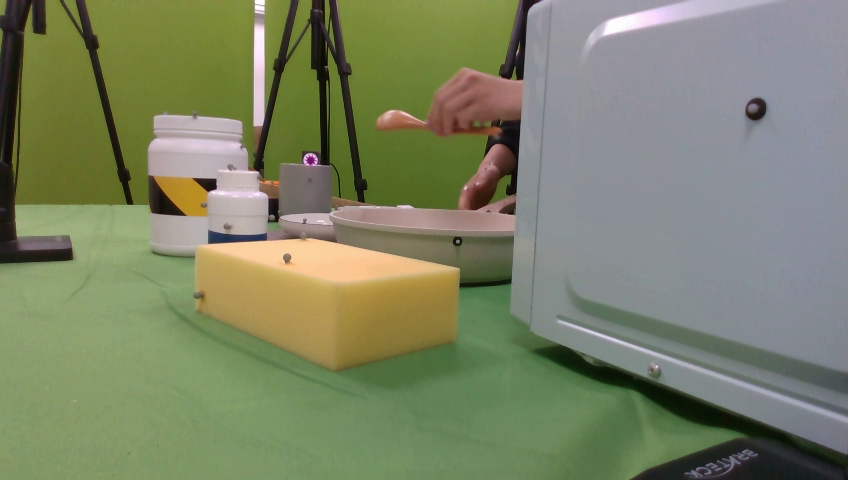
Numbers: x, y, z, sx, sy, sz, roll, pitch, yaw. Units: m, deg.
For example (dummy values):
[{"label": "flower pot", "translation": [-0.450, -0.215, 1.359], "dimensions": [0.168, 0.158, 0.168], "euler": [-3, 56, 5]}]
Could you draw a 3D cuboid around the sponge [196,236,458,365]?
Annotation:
[{"label": "sponge", "translation": [-0.087, 0.039, 0.500], "dimensions": [0.206, 0.061, 0.119], "euler": [8, 9, 44]}]

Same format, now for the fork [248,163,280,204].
[{"label": "fork", "translation": [-0.396, -0.143, 1.486], "dimensions": [0.028, 0.018, 0.208], "euler": [20, -26, 45]}]

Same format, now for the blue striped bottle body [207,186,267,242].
[{"label": "blue striped bottle body", "translation": [-0.204, -0.016, 0.663], "dimensions": [0.063, 0.120, 0.063], "euler": [2, 7, 0]}]

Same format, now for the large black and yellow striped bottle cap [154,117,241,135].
[{"label": "large black and yellow striped bottle cap", "translation": [-0.314, -0.158, 0.843], "dimensions": [0.115, 0.019, 0.115], "euler": [3, 7, 0]}]

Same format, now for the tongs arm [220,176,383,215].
[{"label": "tongs arm", "translation": [-0.285, -0.104, 1.445], "dimensions": [0.389, 0.027, 0.028], "euler": [9, -4, -23]}]

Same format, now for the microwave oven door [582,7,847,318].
[{"label": "microwave oven door", "translation": [0.295, -0.067, 0.569], "dimensions": [0.358, 0.243, 0.039], "euler": [-3, 8, -31]}]

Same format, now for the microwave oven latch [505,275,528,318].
[{"label": "microwave oven latch", "translation": [0.100, 0.041, 0.472], "dimensions": [0.079, 0.029, 0.030], "euler": [-2, 8, -30]}]

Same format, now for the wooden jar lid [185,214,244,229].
[{"label": "wooden jar lid", "translation": [-0.404, -0.037, 1.169], "dimensions": [0.108, 0.020, 0.108], "euler": [3, 7, 0]}]

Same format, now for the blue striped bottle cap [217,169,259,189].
[{"label": "blue striped bottle cap", "translation": [-0.202, -0.067, 0.656], "dimensions": [0.044, 0.020, 0.044], "euler": [0, 10, 0]}]

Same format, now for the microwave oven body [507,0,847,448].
[{"label": "microwave oven body", "translation": [0.331, -0.042, 0.425], "dimensions": [0.444, 0.260, 0.324], "euler": [-2, 8, -31]}]

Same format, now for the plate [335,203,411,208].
[{"label": "plate", "translation": [-0.089, -0.053, 1.309], "dimensions": [0.208, 0.039, 0.207], "euler": [2, 8, 0]}]

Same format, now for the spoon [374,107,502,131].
[{"label": "spoon", "translation": [0.016, -0.162, 0.829], "dimensions": [0.193, 0.022, 0.041], "euler": [11, 50, 22]}]

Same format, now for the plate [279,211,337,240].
[{"label": "plate", "translation": [-0.139, -0.022, 1.021], "dimensions": [0.209, 0.038, 0.209], "euler": [2, 8, 0]}]

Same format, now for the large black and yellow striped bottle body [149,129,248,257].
[{"label": "large black and yellow striped bottle body", "translation": [-0.315, -0.075, 0.854], "dimensions": [0.131, 0.184, 0.130], "euler": [2, 7, 0]}]

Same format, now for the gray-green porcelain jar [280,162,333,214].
[{"label": "gray-green porcelain jar", "translation": [-0.238, -0.092, 1.221], "dimensions": [0.106, 0.126, 0.106], "euler": [2, 7, 0]}]

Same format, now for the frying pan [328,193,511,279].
[{"label": "frying pan", "translation": [0.071, -0.030, 0.883], "dimensions": [0.305, 0.102, 0.490], "euler": [7, 17, 28]}]

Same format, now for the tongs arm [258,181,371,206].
[{"label": "tongs arm", "translation": [-0.241, -0.095, 1.373], "dimensions": [0.387, 0.026, 0.050], "euler": [9, 0, -37]}]
